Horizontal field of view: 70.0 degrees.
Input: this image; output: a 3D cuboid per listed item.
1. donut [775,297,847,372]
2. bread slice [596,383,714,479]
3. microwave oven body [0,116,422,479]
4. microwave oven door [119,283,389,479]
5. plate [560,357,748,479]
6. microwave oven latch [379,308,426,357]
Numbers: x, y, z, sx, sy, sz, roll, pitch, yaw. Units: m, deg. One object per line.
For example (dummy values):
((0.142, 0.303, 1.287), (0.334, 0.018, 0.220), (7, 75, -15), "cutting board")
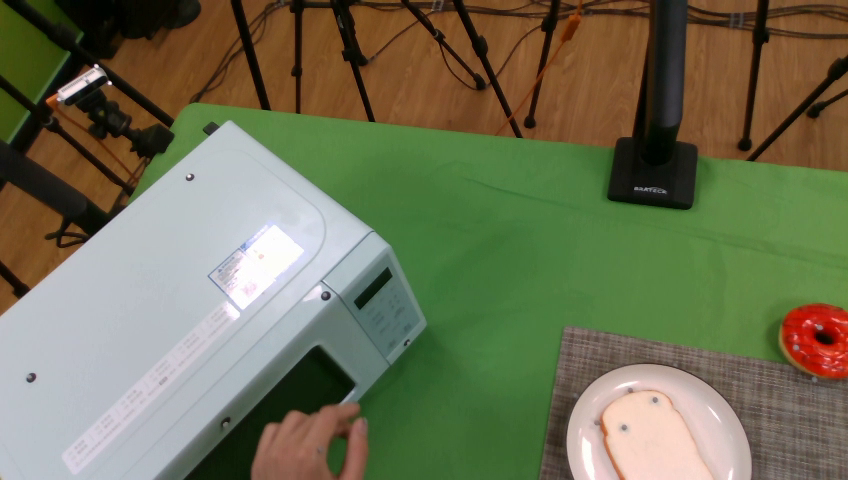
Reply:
((0.488, 0.117, 0.747), (0.099, 0.049, 0.098), (-7, 56, 11), "donut")
((0.266, 0.239, 0.726), (0.105, 0.019, 0.130), (-18, 60, 0), "bread slice")
((-0.275, 0.121, 0.769), (0.323, 0.262, 0.441), (37, 75, 26), "microwave oven body")
((-0.199, 0.225, 0.691), (0.039, 0.246, 0.355), (36, 74, 27), "microwave oven door")
((0.267, 0.245, 0.721), (0.207, 0.039, 0.206), (-5, 61, 9), "plate")
((-0.031, 0.122, 0.832), (0.030, 0.030, 0.079), (39, 76, 26), "microwave oven latch")
